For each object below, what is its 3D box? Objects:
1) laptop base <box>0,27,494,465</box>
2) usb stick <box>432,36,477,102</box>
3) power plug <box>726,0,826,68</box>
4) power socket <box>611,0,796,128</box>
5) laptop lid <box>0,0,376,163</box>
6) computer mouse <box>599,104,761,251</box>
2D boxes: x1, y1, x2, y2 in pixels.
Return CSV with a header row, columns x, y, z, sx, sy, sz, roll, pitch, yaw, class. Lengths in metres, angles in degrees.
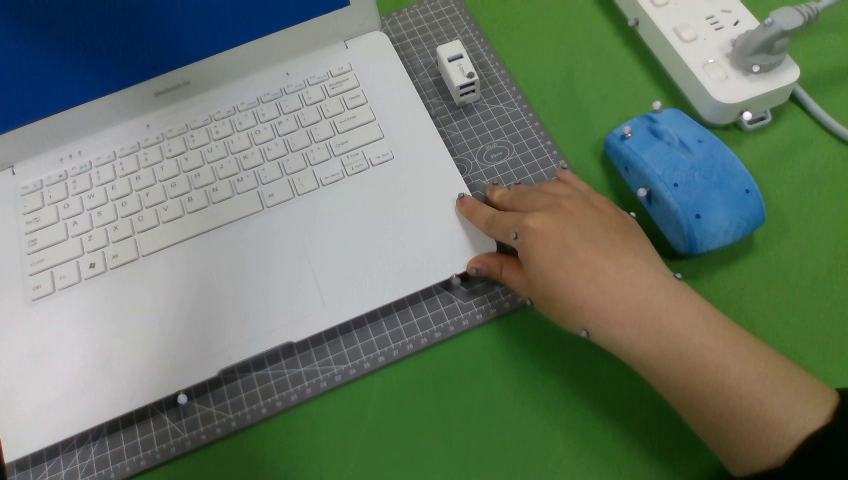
x,y,z,sx,sy,sz,roll,pitch,yaw,class
-0.154,-0.017,0.446,0.354,0.023,0.233,-23,66,-6,laptop base
0.022,-0.141,0.483,0.021,0.027,0.058,-22,61,-1,usb stick
0.255,-0.144,0.434,0.072,0.053,0.035,-11,65,0,power plug
0.204,-0.184,0.484,0.072,0.033,0.224,-20,63,-3,power socket
-0.224,-0.187,0.412,0.357,0.244,0.013,-24,47,-4,laptop lid
0.173,-0.049,0.416,0.063,0.041,0.116,-23,58,-3,computer mouse
